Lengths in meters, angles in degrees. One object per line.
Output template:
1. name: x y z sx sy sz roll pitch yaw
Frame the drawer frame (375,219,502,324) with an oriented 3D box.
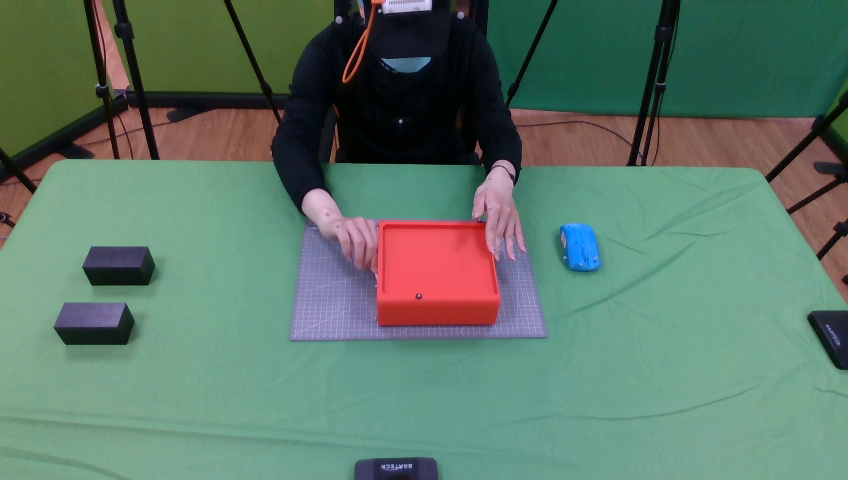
1. drawer frame: 0.020 0.054 1.097 0.214 0.083 0.200 0 46 -4

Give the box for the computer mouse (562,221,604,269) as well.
1. computer mouse: 0.314 0.006 1.196 0.063 0.041 0.116 1 51 -5

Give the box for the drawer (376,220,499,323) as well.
1. drawer: 0.019 0.055 1.097 0.212 0.073 0.193 1 45 -3
